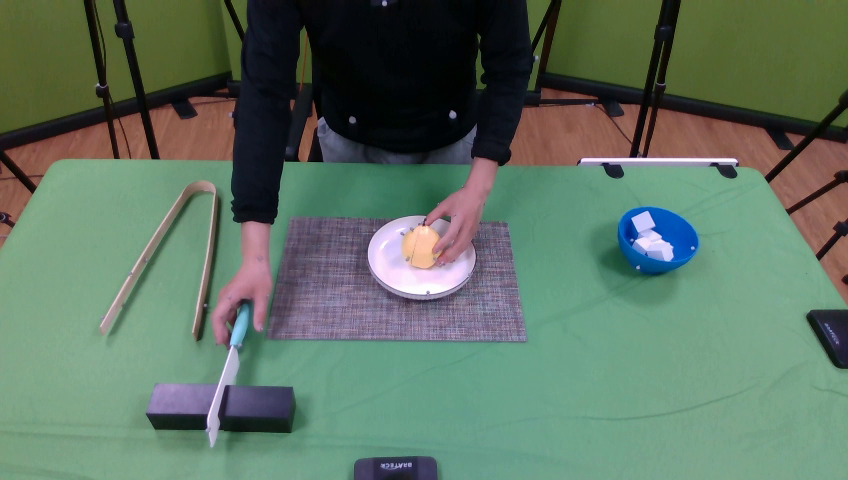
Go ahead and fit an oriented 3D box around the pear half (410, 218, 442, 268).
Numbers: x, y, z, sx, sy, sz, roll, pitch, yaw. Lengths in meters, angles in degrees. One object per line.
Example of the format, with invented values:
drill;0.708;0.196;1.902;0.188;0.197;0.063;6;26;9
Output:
pear half;0.007;0.002;1.118;0.056;0.110;0.076;5;49;0

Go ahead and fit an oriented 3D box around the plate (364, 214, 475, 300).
plate;-0.010;0.036;1.146;0.208;0.039;0.206;2;46;-2

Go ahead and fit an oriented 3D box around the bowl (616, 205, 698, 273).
bowl;0.443;0.011;1.182;0.151;0.077;0.150;2;46;-2

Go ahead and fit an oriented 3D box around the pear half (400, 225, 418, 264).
pear half;-0.029;0.004;1.125;0.031;0.088;0.070;6;47;-1

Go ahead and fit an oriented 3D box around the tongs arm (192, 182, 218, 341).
tongs arm;-0.413;0.025;1.140;0.028;0.028;0.385;-5;47;-7

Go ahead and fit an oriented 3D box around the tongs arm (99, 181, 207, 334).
tongs arm;-0.494;0.018;1.133;0.051;0.026;0.382;7;45;0

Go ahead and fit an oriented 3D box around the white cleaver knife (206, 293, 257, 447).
white cleaver knife;-0.305;0.191;0.956;0.021;0.066;0.284;7;36;-5
